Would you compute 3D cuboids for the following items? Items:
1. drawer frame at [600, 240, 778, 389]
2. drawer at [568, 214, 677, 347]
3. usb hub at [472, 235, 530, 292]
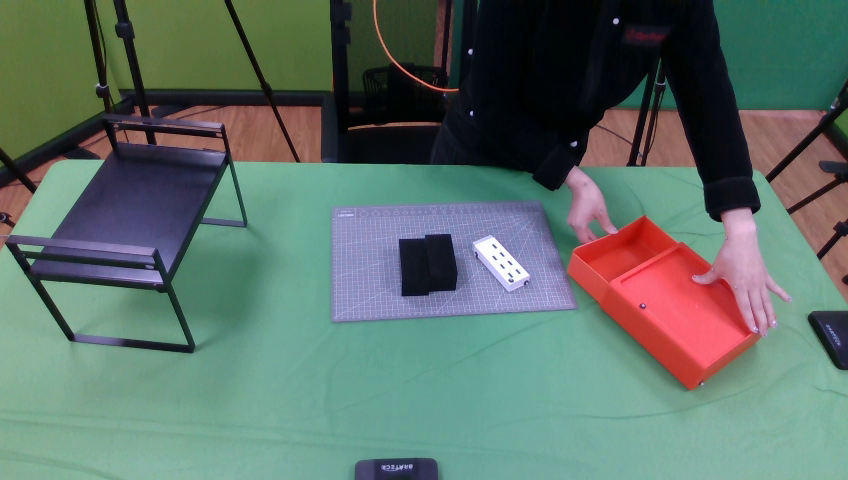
[{"bbox_3d":[0.460,0.122,1.067,0.202,0.083,0.212,-25,53,-25],"label":"drawer frame"},{"bbox_3d":[0.412,0.070,1.123,0.194,0.073,0.210,-23,54,-24],"label":"drawer"},{"bbox_3d":[0.145,0.043,1.160,0.049,0.025,0.124,-23,51,-23],"label":"usb hub"}]
